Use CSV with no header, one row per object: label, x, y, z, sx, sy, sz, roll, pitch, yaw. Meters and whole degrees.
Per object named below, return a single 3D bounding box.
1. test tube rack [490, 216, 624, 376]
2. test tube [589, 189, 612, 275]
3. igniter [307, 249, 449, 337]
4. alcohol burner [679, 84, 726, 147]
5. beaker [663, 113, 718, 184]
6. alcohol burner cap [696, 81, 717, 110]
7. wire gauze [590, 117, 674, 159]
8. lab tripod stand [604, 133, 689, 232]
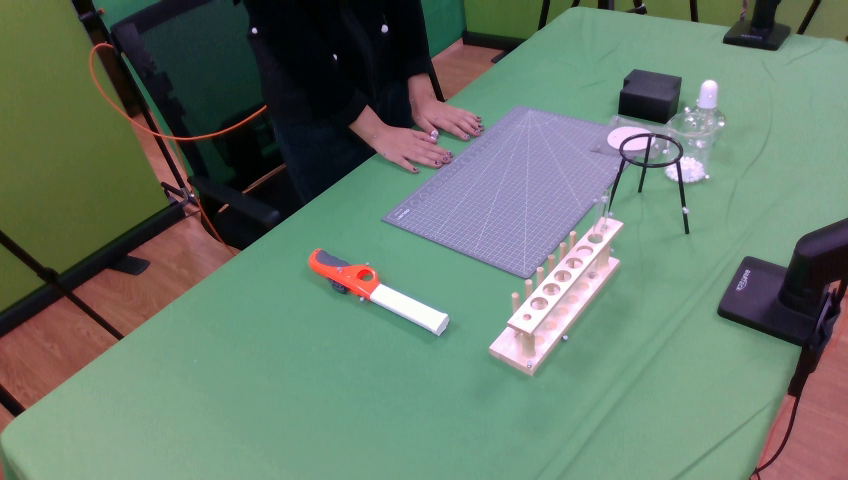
test tube rack,0.184,0.064,0.822,0.066,0.085,0.243,24,50,33
test tube,0.238,-0.007,0.819,0.017,0.151,0.017,-3,43,4
igniter,-0.079,0.073,0.905,0.274,0.025,0.057,23,61,32
alcohol burner,0.503,-0.228,1.086,0.078,0.119,0.077,-4,42,4
beaker,0.442,-0.151,1.018,0.084,0.101,0.074,-1,40,11
alcohol burner cap,0.497,-0.256,1.062,0.034,0.048,0.033,-6,33,4
wire gauze,0.393,-0.192,1.139,0.120,0.011,0.125,19,47,28
lab tripod stand,0.347,-0.086,0.933,0.148,0.132,0.147,-4,40,4
